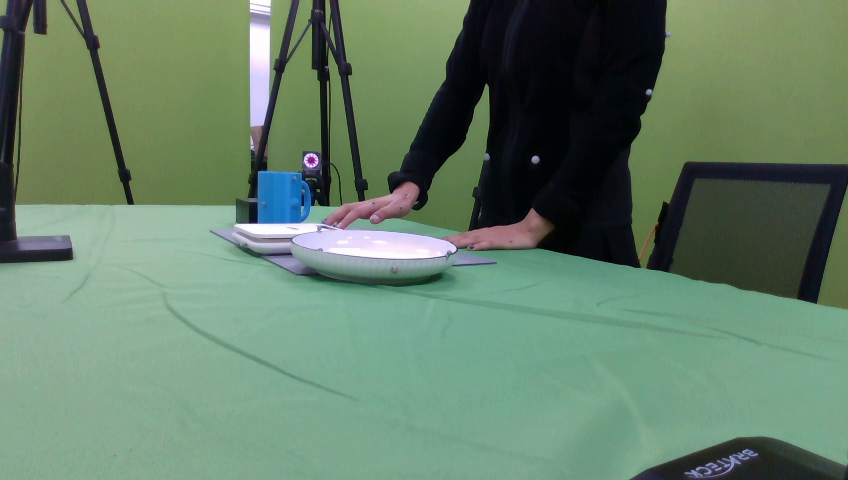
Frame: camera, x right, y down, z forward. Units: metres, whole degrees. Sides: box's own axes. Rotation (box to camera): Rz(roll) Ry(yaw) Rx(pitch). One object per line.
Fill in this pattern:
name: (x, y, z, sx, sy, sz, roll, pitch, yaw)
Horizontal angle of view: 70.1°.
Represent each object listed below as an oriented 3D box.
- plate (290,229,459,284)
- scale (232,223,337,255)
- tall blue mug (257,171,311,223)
plate: (-0.062, 0.020, 0.753, 0.209, 0.038, 0.209, 3, 9, 0)
scale: (-0.178, -0.004, 0.920, 0.202, 0.031, 0.148, -1, 9, -30)
tall blue mug: (-0.259, -0.070, 1.107, 0.078, 0.108, 0.107, 2, 7, 5)
